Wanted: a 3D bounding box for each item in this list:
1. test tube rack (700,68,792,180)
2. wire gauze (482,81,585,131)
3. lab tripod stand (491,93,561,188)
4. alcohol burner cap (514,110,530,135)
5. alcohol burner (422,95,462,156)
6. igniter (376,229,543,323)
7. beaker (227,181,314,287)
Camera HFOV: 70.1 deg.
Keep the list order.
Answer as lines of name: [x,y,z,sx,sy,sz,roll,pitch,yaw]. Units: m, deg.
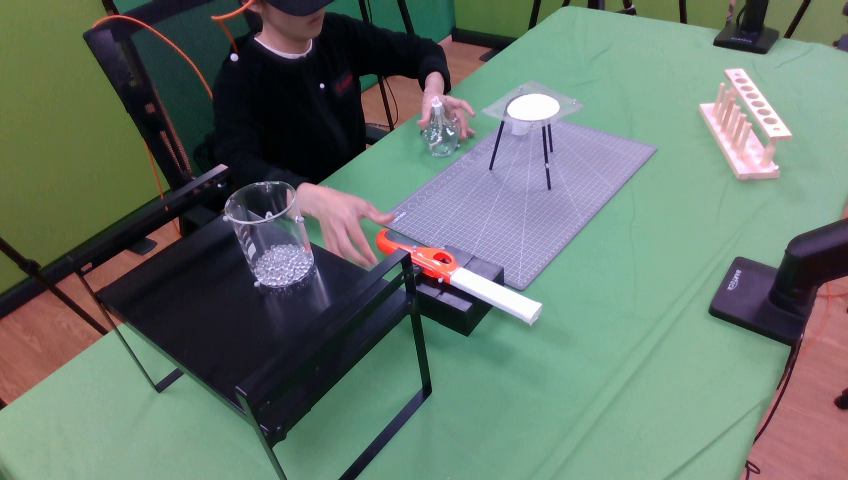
test tube rack: [0.572,-0.215,1.090,0.066,0.085,0.241,-3,41,7]
wire gauze: [0.183,-0.224,1.015,0.125,0.011,0.120,-32,46,-23]
lab tripod stand: [0.189,-0.180,1.066,0.148,0.132,0.147,-5,42,5]
alcohol burner cap: [0.194,-0.235,1.200,0.034,0.048,0.033,-5,42,5]
alcohol burner: [0.033,-0.223,1.161,0.078,0.119,0.077,-4,39,4]
igniter: [0.038,0.044,0.843,0.274,0.025,0.057,25,47,29]
beaker: [-0.166,-0.006,0.670,0.074,0.101,0.083,-8,40,0]
